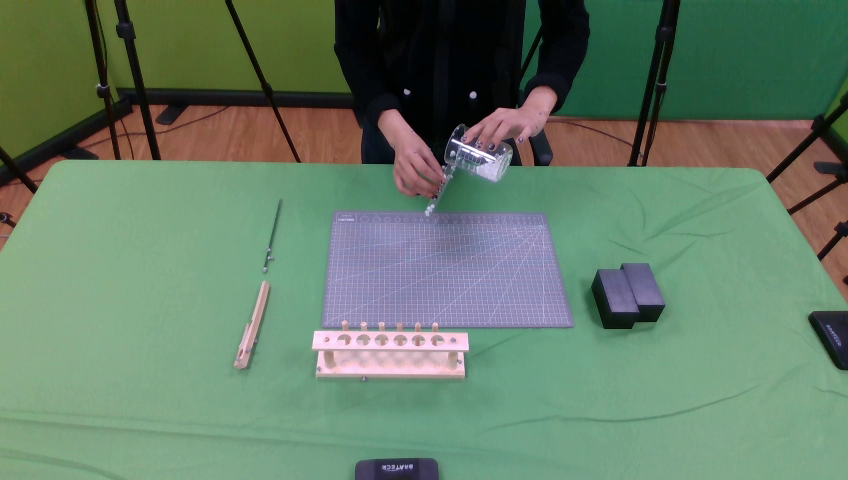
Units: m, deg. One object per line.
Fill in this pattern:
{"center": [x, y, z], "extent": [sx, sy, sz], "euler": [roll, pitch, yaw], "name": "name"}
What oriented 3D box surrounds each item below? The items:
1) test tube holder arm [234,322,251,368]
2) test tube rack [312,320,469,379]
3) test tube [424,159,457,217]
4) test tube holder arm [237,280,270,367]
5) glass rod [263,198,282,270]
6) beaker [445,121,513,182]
{"center": [-0.299, 0.173, 1.013], "extent": [0.010, 0.015, 0.087], "euler": [-17, 41, 22], "name": "test tube holder arm"}
{"center": [-0.054, 0.173, 0.984], "extent": [0.242, 0.085, 0.066], "euler": [1, 46, -3], "name": "test tube rack"}
{"center": [0.029, -0.094, 1.138], "extent": [0.017, 0.150, 0.017], "euler": [12, 48, -14], "name": "test tube"}
{"center": [-0.291, 0.140, 1.042], "extent": [0.013, 0.015, 0.177], "euler": [-17, 41, 22], "name": "test tube holder arm"}
{"center": [-0.299, -0.017, 1.202], "extent": [0.008, 0.008, 0.198], "euler": [1, 46, -2], "name": "glass rod"}
{"center": [0.096, -0.147, 1.044], "extent": [0.100, 0.084, 0.074], "euler": [27, 46, 18], "name": "beaker"}
